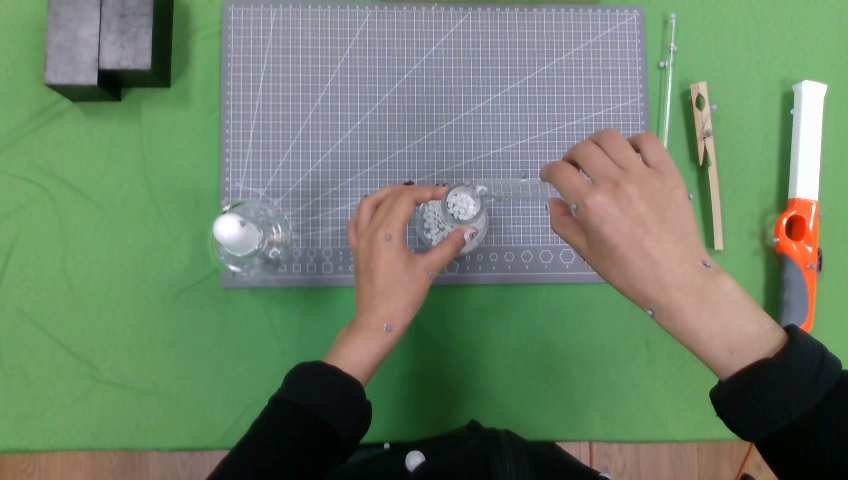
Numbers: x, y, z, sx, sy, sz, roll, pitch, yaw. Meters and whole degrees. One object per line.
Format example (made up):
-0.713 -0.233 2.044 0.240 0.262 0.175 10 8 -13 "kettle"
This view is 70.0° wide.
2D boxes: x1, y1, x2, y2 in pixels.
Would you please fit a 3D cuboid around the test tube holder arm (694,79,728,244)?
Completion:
0.304 -0.083 0.644 0.013 0.015 0.178 -12 85 34 "test tube holder arm"

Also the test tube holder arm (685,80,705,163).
0.293 -0.127 0.650 0.010 0.015 0.087 -10 86 34 "test tube holder arm"

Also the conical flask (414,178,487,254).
0.029 -0.028 0.573 0.075 0.122 0.075 0 85 -2 "conical flask"

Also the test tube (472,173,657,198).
0.112 -0.043 0.482 0.150 0.017 0.017 2 85 -6 "test tube"

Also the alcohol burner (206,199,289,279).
-0.169 -0.003 0.565 0.078 0.119 0.077 0 84 -1 "alcohol burner"

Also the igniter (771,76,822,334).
0.396 -0.037 0.643 0.057 0.025 0.276 8 85 -12 "igniter"

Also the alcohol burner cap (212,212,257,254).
-0.168 -0.009 0.529 0.034 0.048 0.033 1 76 -2 "alcohol burner cap"

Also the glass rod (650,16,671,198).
0.255 -0.144 0.653 0.008 0.008 0.199 6 88 -3 "glass rod"
